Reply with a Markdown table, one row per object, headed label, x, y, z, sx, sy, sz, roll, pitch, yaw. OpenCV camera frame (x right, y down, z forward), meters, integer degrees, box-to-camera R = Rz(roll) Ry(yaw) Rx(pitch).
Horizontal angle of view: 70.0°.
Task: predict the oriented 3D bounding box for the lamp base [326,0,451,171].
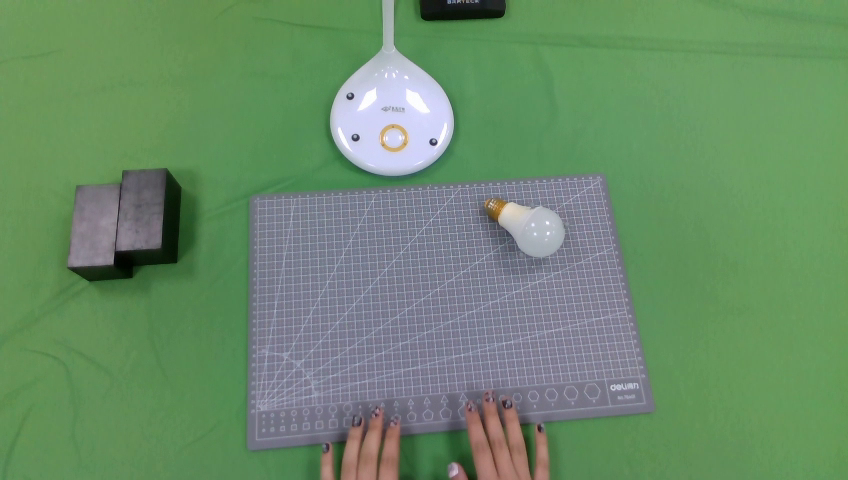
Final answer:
| label | x | y | z | sx | sy | sz | roll | pitch | yaw |
| --- | --- | --- | --- | --- | --- | --- | --- | --- | --- |
| lamp base | -0.045 | -0.199 | 0.715 | 0.161 | 0.181 | 0.178 | -9 | 68 | -6 |

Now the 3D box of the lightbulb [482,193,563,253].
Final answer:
| label | x | y | z | sx | sy | sz | roll | pitch | yaw |
| --- | --- | --- | --- | --- | --- | --- | --- | --- | --- |
| lightbulb | 0.116 | -0.025 | 0.727 | 0.107 | 0.060 | 0.059 | 32 | 71 | 25 |
